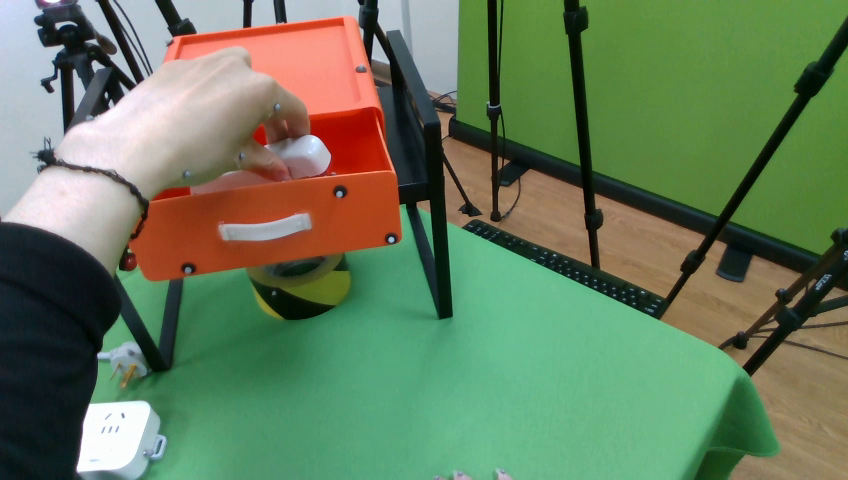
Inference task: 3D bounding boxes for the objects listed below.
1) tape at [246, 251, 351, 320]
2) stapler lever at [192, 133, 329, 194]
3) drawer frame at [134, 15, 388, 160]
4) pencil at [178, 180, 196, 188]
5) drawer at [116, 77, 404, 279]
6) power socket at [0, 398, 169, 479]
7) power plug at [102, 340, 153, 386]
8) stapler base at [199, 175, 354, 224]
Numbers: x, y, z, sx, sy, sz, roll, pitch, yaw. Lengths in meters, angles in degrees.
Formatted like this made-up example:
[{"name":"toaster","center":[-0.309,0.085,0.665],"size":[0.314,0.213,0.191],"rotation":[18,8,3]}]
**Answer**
[{"name":"tape","center":[-0.141,0.031,0.692],"size":[0.117,0.053,0.115],"rotation":[-2,41,2]},{"name":"stapler lever","center":[-0.131,-0.057,0.476],"size":[0.118,0.040,0.026],"rotation":[-6,41,13]},{"name":"drawer frame","center":[-0.147,-0.131,0.583],"size":[0.202,0.083,0.211],"rotation":[-10,40,-6]},{"name":"pencil","center":[-0.141,-0.047,0.516],"size":[0.193,0.012,0.012],"rotation":[1,40,23]},{"name":"drawer","center":[-0.129,-0.072,0.515],"size":[0.195,0.074,0.209],"rotation":[-9,40,-5]},{"name":"power socket","center":[-0.349,0.185,0.546],"size":[0.227,0.033,0.071],"rotation":[-4,40,1]},{"name":"power plug","center":[-0.308,0.131,0.620],"size":[0.072,0.035,0.052],"rotation":[-31,27,26]},{"name":"stapler base","center":[-0.124,-0.039,0.494],"size":[0.130,0.025,0.041],"rotation":[-5,41,12]}]
